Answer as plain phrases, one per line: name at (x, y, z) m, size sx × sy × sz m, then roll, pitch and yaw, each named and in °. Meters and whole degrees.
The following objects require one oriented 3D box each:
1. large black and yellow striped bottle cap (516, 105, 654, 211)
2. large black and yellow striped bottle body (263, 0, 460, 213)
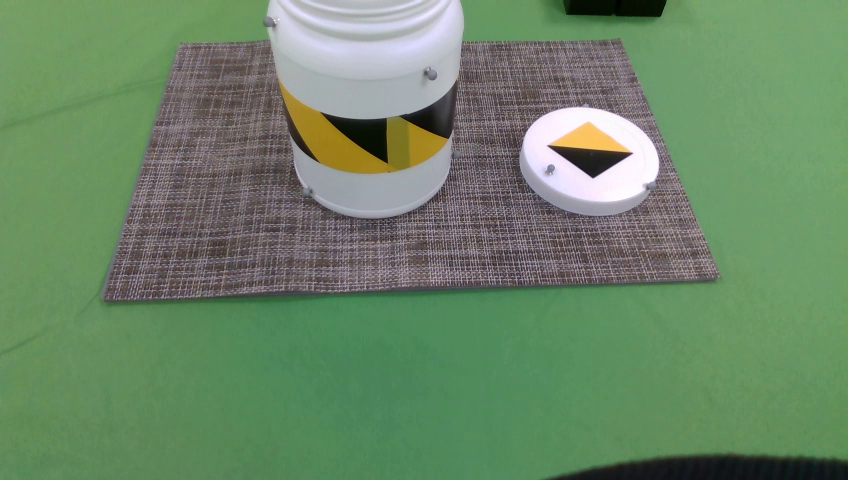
large black and yellow striped bottle cap at (0.136, -0.073, 0.516) m, size 0.115 × 0.019 × 0.114 m, roll 2°, pitch 52°, yaw -2°
large black and yellow striped bottle body at (-0.042, -0.123, 0.439) m, size 0.131 × 0.185 × 0.129 m, roll 2°, pitch 53°, yaw -2°
